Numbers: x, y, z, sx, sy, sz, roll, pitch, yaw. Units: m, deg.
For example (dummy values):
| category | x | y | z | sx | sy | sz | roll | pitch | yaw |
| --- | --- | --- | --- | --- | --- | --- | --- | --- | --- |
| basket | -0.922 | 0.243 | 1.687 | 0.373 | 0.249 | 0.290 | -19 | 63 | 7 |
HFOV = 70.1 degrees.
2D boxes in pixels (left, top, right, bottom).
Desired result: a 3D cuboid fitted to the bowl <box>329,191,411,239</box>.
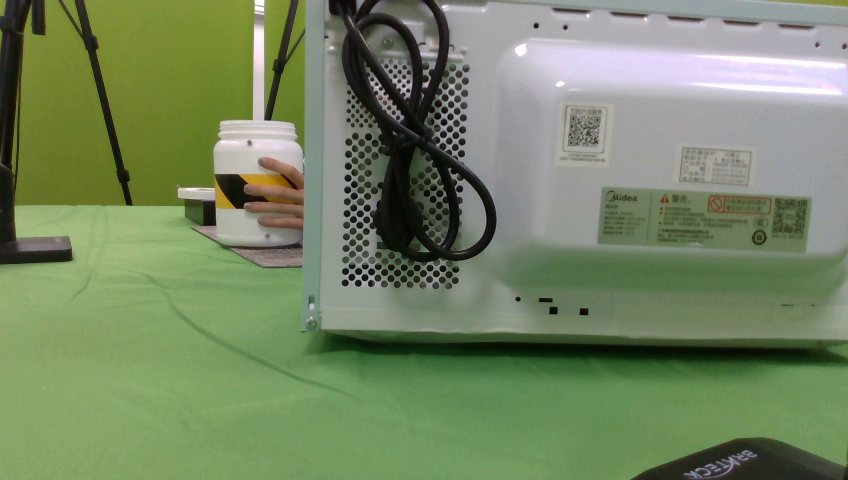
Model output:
| category | x | y | z | sx | sy | sz | roll | pitch | yaw |
| --- | --- | --- | --- | --- | --- | --- | --- | --- | --- |
| bowl | -0.099 | -0.045 | 1.104 | 0.151 | 0.077 | 0.151 | 3 | 8 | 0 |

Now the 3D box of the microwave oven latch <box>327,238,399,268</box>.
| category | x | y | z | sx | sy | sz | roll | pitch | yaw |
| --- | --- | --- | --- | --- | --- | --- | --- | --- | --- |
| microwave oven latch | -0.069 | 0.015 | 0.694 | 0.079 | 0.029 | 0.030 | 3 | 7 | -3 |

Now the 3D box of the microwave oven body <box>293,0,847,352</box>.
| category | x | y | z | sx | sy | sz | roll | pitch | yaw |
| --- | --- | --- | --- | --- | --- | --- | --- | --- | --- |
| microwave oven body | 0.122 | -0.055 | 0.550 | 0.442 | 0.260 | 0.325 | 3 | 7 | -5 |

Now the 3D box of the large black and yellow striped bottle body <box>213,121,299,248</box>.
| category | x | y | z | sx | sy | sz | roll | pitch | yaw |
| --- | --- | --- | --- | --- | --- | --- | --- | --- | --- |
| large black and yellow striped bottle body | -0.254 | -0.086 | 0.930 | 0.131 | 0.184 | 0.130 | 0 | 7 | 0 |

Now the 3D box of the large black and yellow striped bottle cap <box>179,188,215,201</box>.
| category | x | y | z | sx | sy | sz | roll | pitch | yaw |
| --- | --- | --- | --- | --- | --- | --- | --- | --- | --- |
| large black and yellow striped bottle cap | -0.434 | -0.093 | 1.226 | 0.115 | 0.019 | 0.115 | 3 | 9 | 0 |

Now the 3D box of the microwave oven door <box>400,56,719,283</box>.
| category | x | y | z | sx | sy | sz | roll | pitch | yaw |
| --- | --- | --- | --- | --- | --- | --- | --- | --- | --- |
| microwave oven door | 0.155 | -0.077 | 0.698 | 0.356 | 0.243 | 0.039 | 2 | 8 | -5 |
